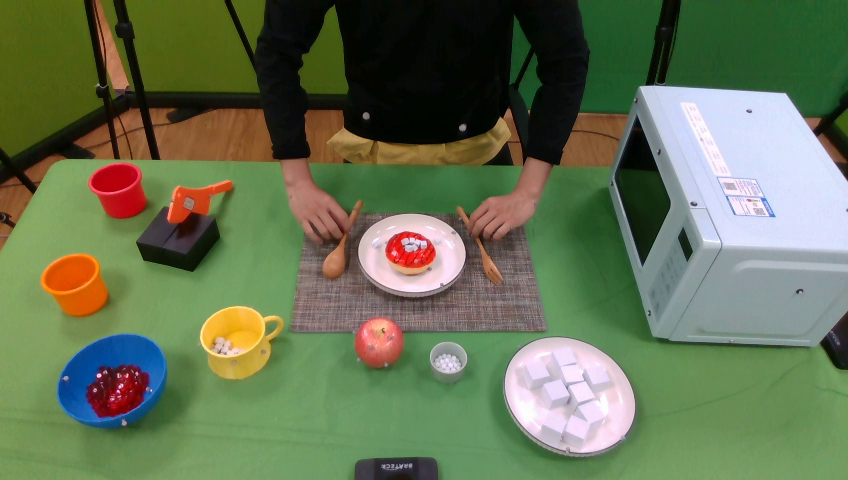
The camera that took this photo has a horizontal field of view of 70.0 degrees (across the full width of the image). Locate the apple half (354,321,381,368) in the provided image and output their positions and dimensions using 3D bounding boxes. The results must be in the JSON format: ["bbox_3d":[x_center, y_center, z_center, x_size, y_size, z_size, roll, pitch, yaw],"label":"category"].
[{"bbox_3d":[-0.097,0.176,0.985,0.033,0.081,0.080,-12,48,-20],"label":"apple half"}]

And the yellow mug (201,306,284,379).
[{"bbox_3d":[-0.291,0.160,0.993,0.131,0.064,0.099,-23,51,-25],"label":"yellow mug"}]

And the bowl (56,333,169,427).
[{"bbox_3d":[-0.456,0.223,0.911,0.151,0.077,0.150,3,46,-2],"label":"bowl"}]

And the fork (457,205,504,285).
[{"bbox_3d":[0.106,0.005,1.187,0.019,0.028,0.206,7,43,-32],"label":"fork"}]

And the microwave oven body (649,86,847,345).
[{"bbox_3d":[0.568,-0.053,1.118,0.326,0.261,0.439,2,45,-1],"label":"microwave oven body"}]

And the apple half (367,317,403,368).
[{"bbox_3d":[-0.061,0.167,0.998,0.053,0.075,0.080,-11,44,-20],"label":"apple half"}]

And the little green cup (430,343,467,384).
[{"bbox_3d":[0.039,0.203,0.994,0.061,0.039,0.061,2,46,-2],"label":"little green cup"}]

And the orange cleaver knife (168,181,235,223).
[{"bbox_3d":[-0.436,-0.078,1.196,0.012,0.077,0.211,16,15,10],"label":"orange cleaver knife"}]

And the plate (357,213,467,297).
[{"bbox_3d":[-0.023,0.032,1.150,0.209,0.038,0.208,2,46,-2],"label":"plate"}]

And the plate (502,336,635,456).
[{"bbox_3d":[0.225,0.248,0.963,0.208,0.039,0.206,2,46,-2],"label":"plate"}]

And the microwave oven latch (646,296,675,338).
[{"bbox_3d":[0.412,0.134,1.061,0.030,0.029,0.078,4,45,1],"label":"microwave oven latch"}]

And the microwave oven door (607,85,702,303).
[{"bbox_3d":[0.423,-0.094,1.140,0.039,0.245,0.353,2,46,-1],"label":"microwave oven door"}]

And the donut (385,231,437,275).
[{"bbox_3d":[-0.025,0.024,1.141,0.099,0.048,0.098,3,44,-3],"label":"donut"}]

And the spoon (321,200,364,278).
[{"bbox_3d":[-0.153,-0.007,1.171,0.042,0.021,0.193,31,49,-16],"label":"spoon"}]
